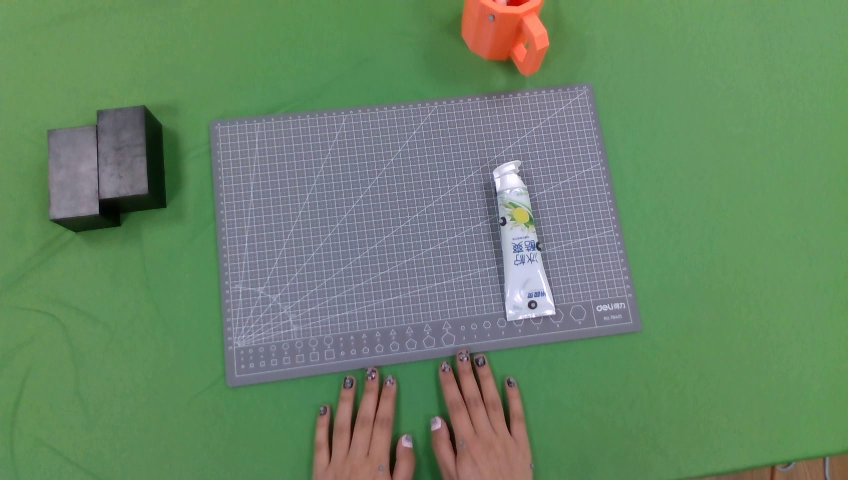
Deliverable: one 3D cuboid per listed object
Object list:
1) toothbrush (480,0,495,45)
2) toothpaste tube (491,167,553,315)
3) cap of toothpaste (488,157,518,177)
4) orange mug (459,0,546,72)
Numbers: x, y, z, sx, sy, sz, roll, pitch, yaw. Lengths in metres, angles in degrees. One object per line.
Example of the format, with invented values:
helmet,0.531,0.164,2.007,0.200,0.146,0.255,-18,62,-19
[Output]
toothbrush,0.077,-0.302,0.659,0.014,0.183,0.016,-16,43,-22
toothpaste tube,0.101,-0.001,0.671,0.055,0.034,0.164,-9,82,2
cap of toothpaste,0.090,-0.082,0.682,0.037,0.037,0.011,-19,76,-7
orange mug,0.095,-0.259,0.692,0.083,0.101,0.125,-28,76,-8
